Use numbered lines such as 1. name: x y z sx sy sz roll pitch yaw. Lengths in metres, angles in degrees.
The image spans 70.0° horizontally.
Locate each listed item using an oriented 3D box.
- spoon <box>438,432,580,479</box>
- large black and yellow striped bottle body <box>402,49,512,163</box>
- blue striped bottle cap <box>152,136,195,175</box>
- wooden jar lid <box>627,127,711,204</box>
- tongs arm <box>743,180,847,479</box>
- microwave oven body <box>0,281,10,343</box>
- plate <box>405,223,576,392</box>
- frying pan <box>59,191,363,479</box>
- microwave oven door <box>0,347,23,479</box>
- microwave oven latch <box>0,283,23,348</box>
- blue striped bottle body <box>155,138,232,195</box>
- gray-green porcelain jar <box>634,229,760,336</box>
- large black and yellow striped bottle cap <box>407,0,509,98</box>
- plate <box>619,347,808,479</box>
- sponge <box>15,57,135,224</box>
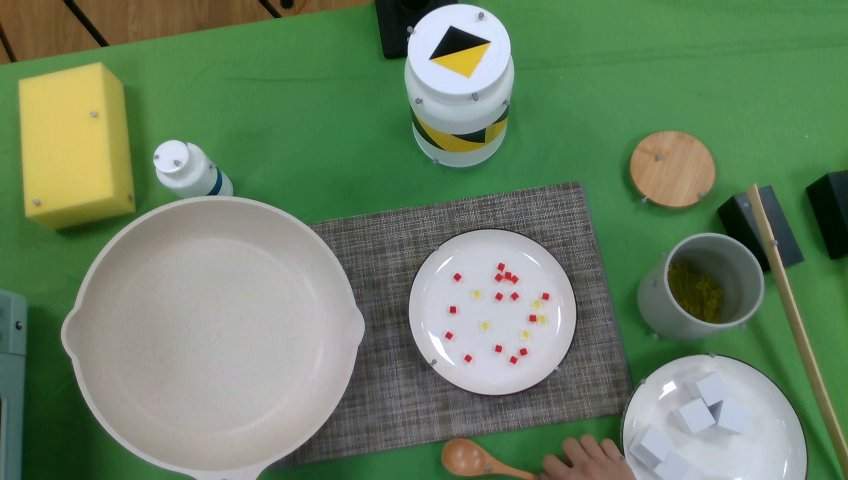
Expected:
1. spoon: 0.111 0.268 0.711 0.193 0.022 0.041 15 75 7
2. large black and yellow striped bottle body: 0.041 -0.189 0.757 0.131 0.185 0.130 -1 74 3
3. blue striped bottle cap: -0.301 -0.103 0.728 0.044 0.021 0.044 -1 76 3
4. wooden jar lid: 0.323 -0.097 0.803 0.108 0.021 0.108 -1 76 3
5. tongs arm: 0.451 0.110 0.702 0.051 0.026 0.383 -14 84 -3
6. microwave oven body: -0.652 0.258 0.621 0.326 0.261 0.439 -8 75 0
7. plate: 0.080 0.082 0.752 0.209 0.038 0.208 -1 75 3
8. frying pan: -0.208 0.192 0.632 0.309 0.103 0.484 4 69 -29
9. microwave oven door: -0.502 0.276 0.604 0.039 0.245 0.353 -9 74 1
10. microwave oven latch: -0.527 0.095 0.761 0.030 0.029 0.078 -3 75 2
11. blue striped bottle body: -0.298 -0.088 0.777 0.063 0.121 0.062 -1 74 3
12. gray-green porcelain jar: 0.309 0.055 0.706 0.106 0.127 0.105 -1 74 3
13. large black and yellow striped bottle cap: 0.038 -0.214 0.676 0.115 0.019 0.114 -1 76 3
14. plate: 0.329 0.230 0.704 0.207 0.039 0.206 -1 74 3
15. sponge: -0.478 -0.136 0.829 0.118 0.061 0.205 -14 75 -2
